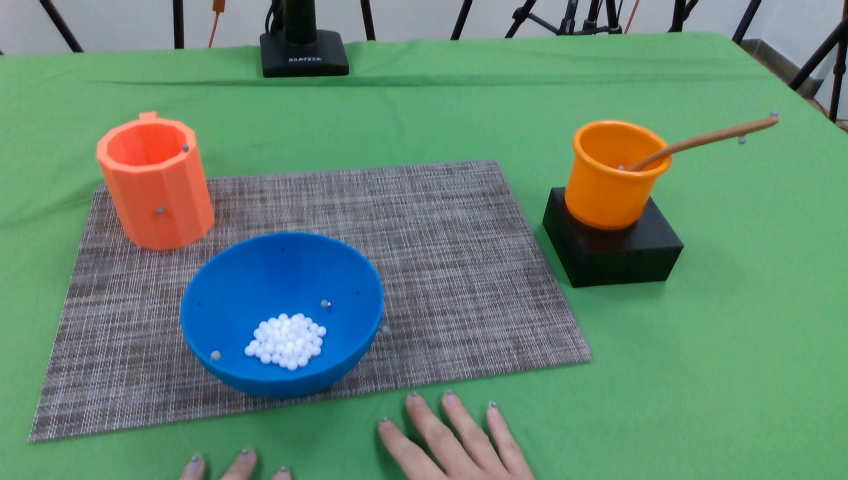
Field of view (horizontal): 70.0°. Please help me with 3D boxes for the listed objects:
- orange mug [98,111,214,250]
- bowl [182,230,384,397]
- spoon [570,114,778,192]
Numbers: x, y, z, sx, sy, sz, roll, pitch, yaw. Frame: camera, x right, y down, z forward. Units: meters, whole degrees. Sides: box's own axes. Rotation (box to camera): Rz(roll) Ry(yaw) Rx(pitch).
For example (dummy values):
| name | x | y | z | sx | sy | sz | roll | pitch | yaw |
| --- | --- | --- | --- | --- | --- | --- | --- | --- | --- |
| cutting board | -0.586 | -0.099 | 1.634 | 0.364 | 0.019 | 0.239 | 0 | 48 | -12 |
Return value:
| name | x | y | z | sx | sy | sz | roll | pitch | yaw |
| --- | --- | --- | --- | --- | --- | --- | --- | --- | --- |
| orange mug | -0.262 | -0.067 | 0.598 | 0.084 | 0.101 | 0.125 | -11 | 51 | -17 |
| bowl | -0.108 | 0.071 | 0.486 | 0.151 | 0.077 | 0.150 | 4 | 43 | -3 |
| spoon | 0.220 | -0.079 | 0.560 | 0.022 | 0.193 | 0.041 | 56 | 46 | -12 |
